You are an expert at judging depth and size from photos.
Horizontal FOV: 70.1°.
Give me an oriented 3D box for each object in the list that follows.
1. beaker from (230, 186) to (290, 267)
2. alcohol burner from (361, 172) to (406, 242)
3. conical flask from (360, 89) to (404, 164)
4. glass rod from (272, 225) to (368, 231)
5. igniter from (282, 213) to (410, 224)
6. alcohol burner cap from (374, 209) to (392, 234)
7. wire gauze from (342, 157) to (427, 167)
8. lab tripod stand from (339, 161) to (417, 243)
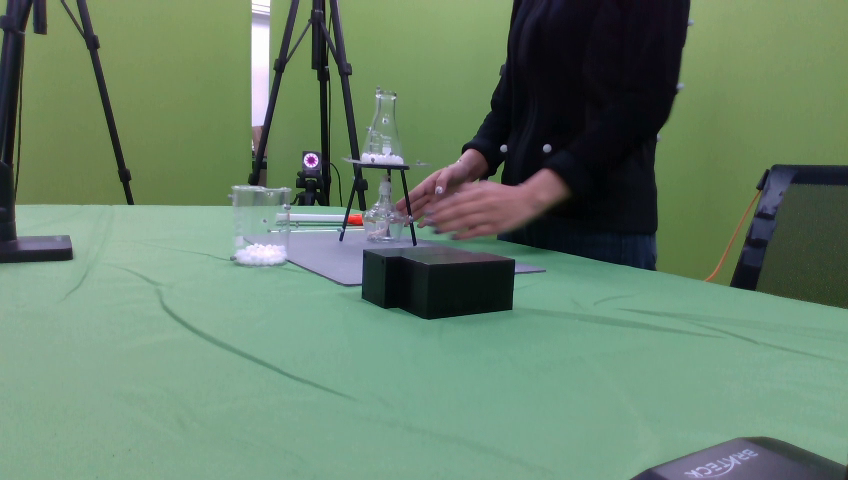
[{"bbox_3d":[-0.209,-0.019,0.778,0.074,0.100,0.084,3,6,4],"label":"beaker"},{"bbox_3d":[-0.067,-0.056,1.030,0.078,0.119,0.078,4,9,0],"label":"alcohol burner"},{"bbox_3d":[-0.067,-0.189,1.010,0.075,0.122,0.075,4,6,0],"label":"conical flask"},{"bbox_3d":[-0.197,-0.024,1.170,0.201,0.008,0.008,-3,9,-34],"label":"glass rod"},{"bbox_3d":[-0.159,-0.046,1.287,0.278,0.025,0.057,-1,-2,-22],"label":"igniter"},{"bbox_3d":[-0.078,-0.036,1.148,0.034,0.048,0.034,2,7,0],"label":"alcohol burner cap"},{"bbox_3d":[-0.065,-0.130,1.016,0.122,0.011,0.124,2,5,-27],"label":"wire gauze"},{"bbox_3d":[-0.067,-0.066,1.027,0.148,0.131,0.148,4,7,0],"label":"lab tripod stand"}]
